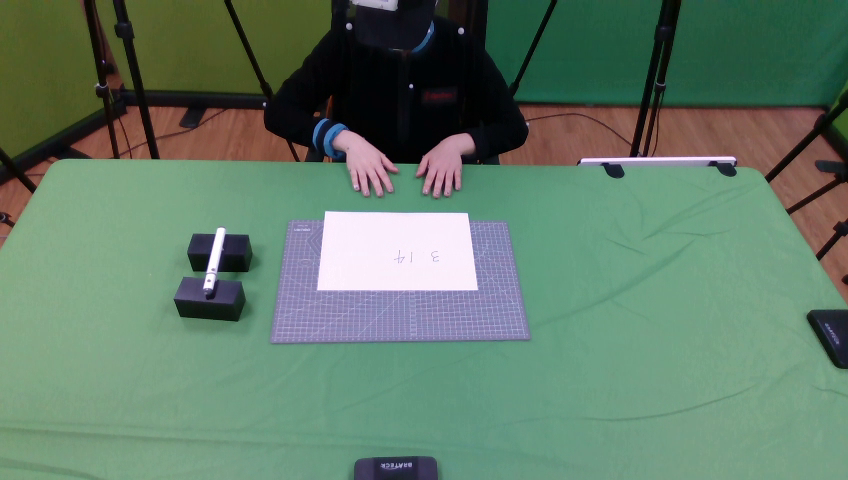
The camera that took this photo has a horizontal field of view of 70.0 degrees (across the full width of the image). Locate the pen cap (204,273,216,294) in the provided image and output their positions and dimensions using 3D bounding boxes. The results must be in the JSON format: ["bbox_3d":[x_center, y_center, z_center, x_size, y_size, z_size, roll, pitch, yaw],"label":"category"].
[{"bbox_3d":[-0.364,0.075,1.032,0.017,0.017,0.038,-2,45,-6],"label":"pen cap"}]

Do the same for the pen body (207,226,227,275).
[{"bbox_3d":[-0.369,0.030,1.076,0.017,0.017,0.143,0,46,-5],"label":"pen body"}]
